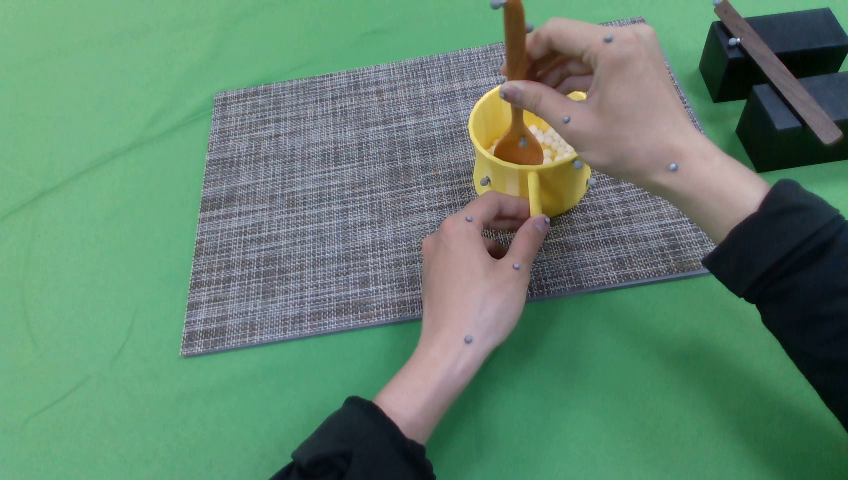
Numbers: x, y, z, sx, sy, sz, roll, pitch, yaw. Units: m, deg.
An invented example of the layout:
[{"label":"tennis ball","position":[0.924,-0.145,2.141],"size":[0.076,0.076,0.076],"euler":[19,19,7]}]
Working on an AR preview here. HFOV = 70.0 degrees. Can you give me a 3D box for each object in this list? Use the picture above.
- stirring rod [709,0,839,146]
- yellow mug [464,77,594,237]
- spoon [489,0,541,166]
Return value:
[{"label":"stirring rod","position":[0.276,-0.140,0.487],"size":[0.014,0.006,0.174],"euler":[-36,50,27]},{"label":"yellow mug","position":[0.084,-0.062,0.487],"size":[0.100,0.064,0.129],"euler":[-3,56,7]},{"label":"spoon","position":[0.064,-0.095,0.425],"size":[0.041,0.195,0.021],"euler":[4,70,10]}]
